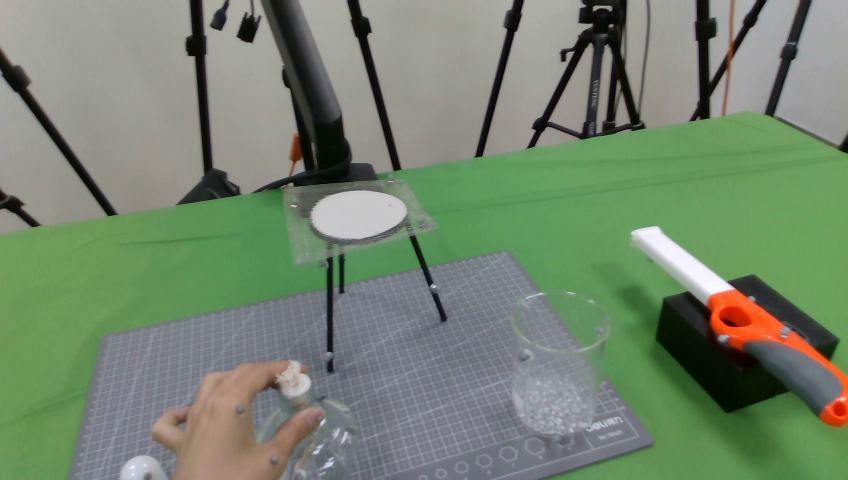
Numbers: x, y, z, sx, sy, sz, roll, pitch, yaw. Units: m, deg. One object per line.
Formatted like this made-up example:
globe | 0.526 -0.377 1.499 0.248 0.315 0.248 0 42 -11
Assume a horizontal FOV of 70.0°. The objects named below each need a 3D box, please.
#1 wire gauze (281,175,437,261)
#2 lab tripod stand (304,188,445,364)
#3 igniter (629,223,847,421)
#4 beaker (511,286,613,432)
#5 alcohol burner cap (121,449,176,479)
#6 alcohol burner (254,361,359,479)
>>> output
wire gauze | -0.062 -0.028 0.540 0.122 0.011 0.123 -10 34 -13
lab tripod stand | -0.055 0.026 0.581 0.148 0.132 0.147 -1 31 1
igniter | 0.263 0.054 0.528 0.057 0.025 0.273 -11 30 -10
beaker | 0.104 0.097 0.489 0.074 0.101 0.083 -22 37 -26
alcohol burner cap | -0.204 0.175 0.448 0.034 0.048 0.033 -2 34 2
alcohol burner | -0.087 0.131 0.440 0.078 0.120 0.077 -1 35 1
